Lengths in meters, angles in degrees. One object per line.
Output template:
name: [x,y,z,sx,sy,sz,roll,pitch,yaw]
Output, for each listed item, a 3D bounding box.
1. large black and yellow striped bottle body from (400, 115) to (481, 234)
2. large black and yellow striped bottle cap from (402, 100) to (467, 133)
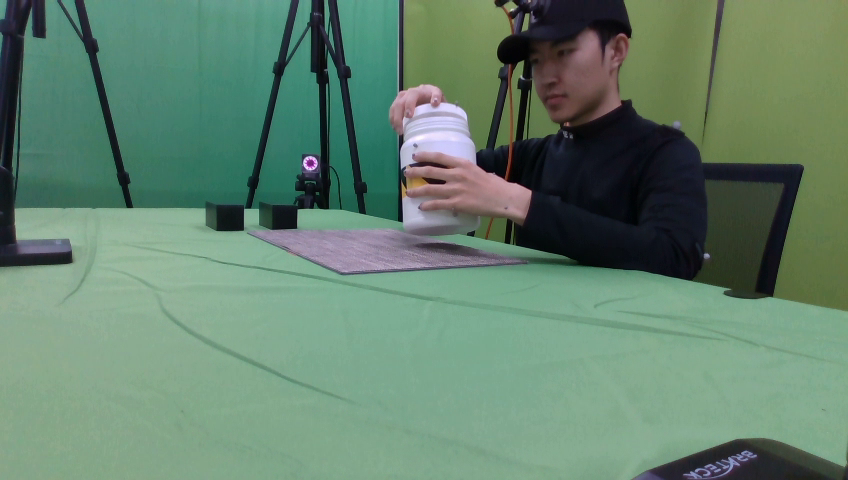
large black and yellow striped bottle body: [0.026,-0.108,1.027,0.131,0.183,0.131,-3,-7,0]
large black and yellow striped bottle cap: [0.018,-0.205,1.052,0.115,0.019,0.115,-4,-20,-1]
